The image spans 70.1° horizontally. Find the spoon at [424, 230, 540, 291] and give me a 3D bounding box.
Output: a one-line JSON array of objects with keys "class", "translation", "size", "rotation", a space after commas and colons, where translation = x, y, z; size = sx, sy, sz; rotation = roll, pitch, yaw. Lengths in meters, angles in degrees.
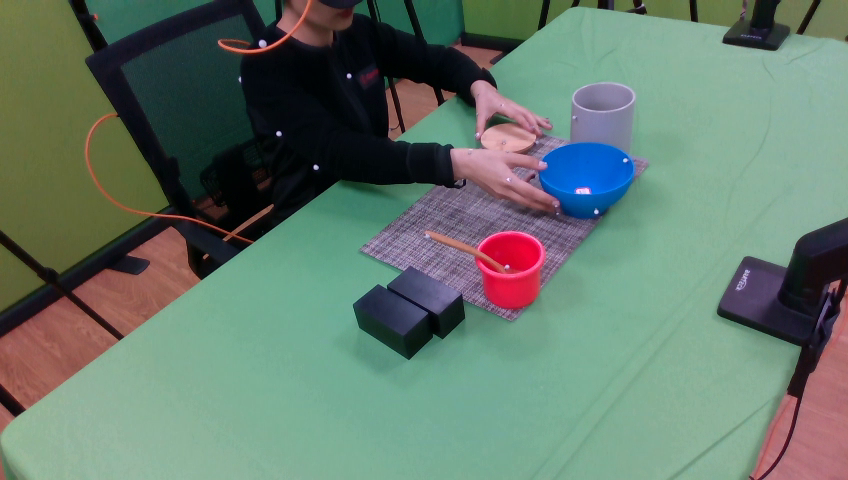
[{"class": "spoon", "translation": [0.083, 0.026, 0.836], "size": [0.195, 0.021, 0.041], "rotation": [29, 31, -24]}]

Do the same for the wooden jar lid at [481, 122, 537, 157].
[{"class": "wooden jar lid", "translation": [0.166, -0.195, 1.177], "size": [0.108, 0.021, 0.108], "rotation": [-5, 40, 4]}]

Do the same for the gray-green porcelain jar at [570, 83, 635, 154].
[{"class": "gray-green porcelain jar", "translation": [0.313, -0.197, 1.069], "size": [0.106, 0.127, 0.105], "rotation": [-5, 40, 5]}]

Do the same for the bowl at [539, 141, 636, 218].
[{"class": "bowl", "translation": [0.264, -0.089, 0.989], "size": [0.151, 0.077, 0.150], "rotation": [-5, 40, 5]}]
